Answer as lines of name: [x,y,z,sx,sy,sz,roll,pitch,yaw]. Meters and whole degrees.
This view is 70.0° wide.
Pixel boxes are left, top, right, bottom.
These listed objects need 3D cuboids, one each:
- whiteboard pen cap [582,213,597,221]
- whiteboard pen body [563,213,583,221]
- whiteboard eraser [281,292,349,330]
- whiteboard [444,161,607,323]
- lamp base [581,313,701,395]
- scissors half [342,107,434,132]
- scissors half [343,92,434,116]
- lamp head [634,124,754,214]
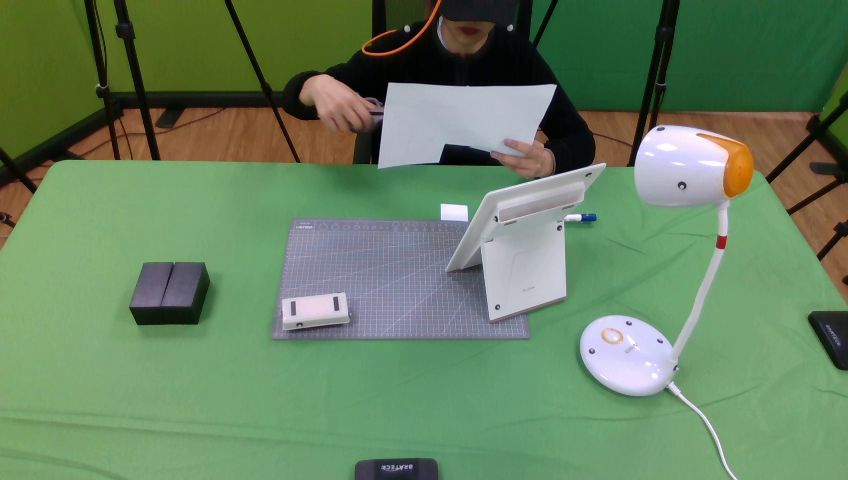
whiteboard pen cap: [0.342,-0.048,1.260,0.033,0.018,0.018,-3,46,-3]
whiteboard pen body: [0.283,-0.047,1.257,0.141,0.017,0.017,-1,46,-2]
whiteboard eraser: [-0.189,0.124,1.045,0.113,0.042,0.055,-6,46,-10]
whiteboard: [0.186,0.025,1.029,0.217,0.306,0.143,-14,68,-18]
lamp base: [0.361,0.144,0.973,0.178,0.181,0.160,34,53,23]
scissors half: [-0.068,-0.233,1.149,0.175,0.040,0.013,-8,4,7]
scissors half: [-0.067,-0.253,1.148,0.175,0.013,0.040,10,91,5]
lamp head: [0.351,-0.089,0.775,0.112,0.113,0.122,-30,30,-28]
